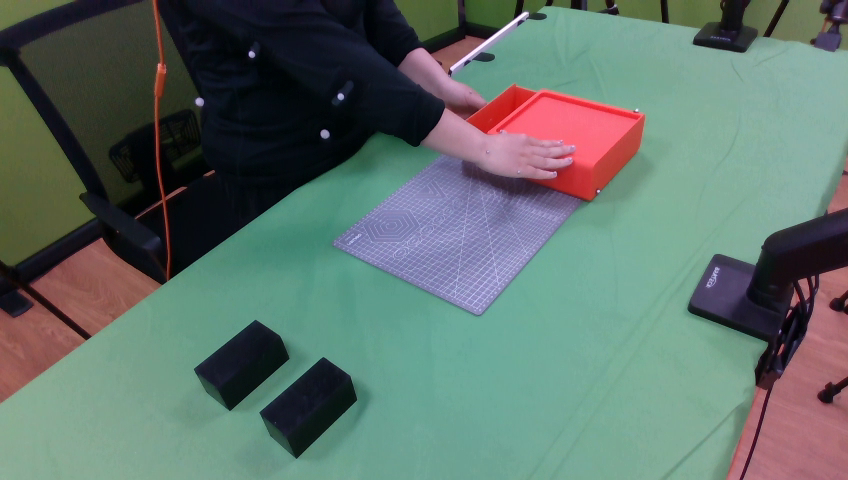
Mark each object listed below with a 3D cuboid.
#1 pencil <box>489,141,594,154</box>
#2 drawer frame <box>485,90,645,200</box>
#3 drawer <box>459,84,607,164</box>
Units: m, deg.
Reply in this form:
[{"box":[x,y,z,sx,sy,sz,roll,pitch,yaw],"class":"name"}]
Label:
[{"box":[0.217,-0.171,1.127,0.194,0.012,0.012,-4,40,7],"class":"pencil"},{"box":[0.253,-0.179,1.094,0.212,0.083,0.202,24,48,31],"class":"drawer frame"},{"box":[0.204,-0.200,1.125,0.210,0.073,0.195,24,48,31],"class":"drawer"}]
